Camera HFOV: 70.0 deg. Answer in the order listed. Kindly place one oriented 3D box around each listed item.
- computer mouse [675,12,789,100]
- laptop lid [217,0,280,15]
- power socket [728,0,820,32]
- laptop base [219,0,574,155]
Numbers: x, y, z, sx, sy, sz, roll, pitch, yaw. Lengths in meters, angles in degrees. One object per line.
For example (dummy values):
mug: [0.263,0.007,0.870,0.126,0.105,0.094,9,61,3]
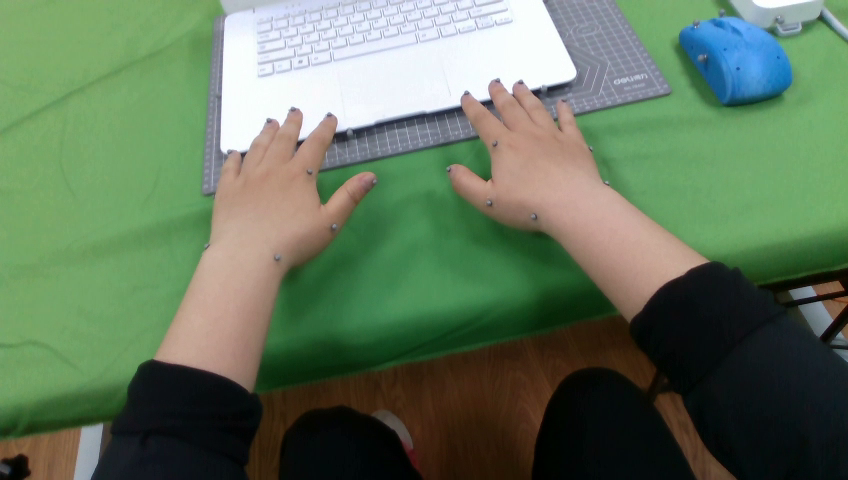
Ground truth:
computer mouse: [0.284,-0.179,0.564,0.063,0.041,0.116,-13,48,3]
laptop lid: [-0.085,-0.387,0.642,0.357,0.244,0.013,-14,41,1]
power socket: [0.342,-0.304,0.647,0.072,0.033,0.224,-10,54,3]
laptop base: [-0.044,-0.207,0.650,0.354,0.023,0.233,-13,57,0]
